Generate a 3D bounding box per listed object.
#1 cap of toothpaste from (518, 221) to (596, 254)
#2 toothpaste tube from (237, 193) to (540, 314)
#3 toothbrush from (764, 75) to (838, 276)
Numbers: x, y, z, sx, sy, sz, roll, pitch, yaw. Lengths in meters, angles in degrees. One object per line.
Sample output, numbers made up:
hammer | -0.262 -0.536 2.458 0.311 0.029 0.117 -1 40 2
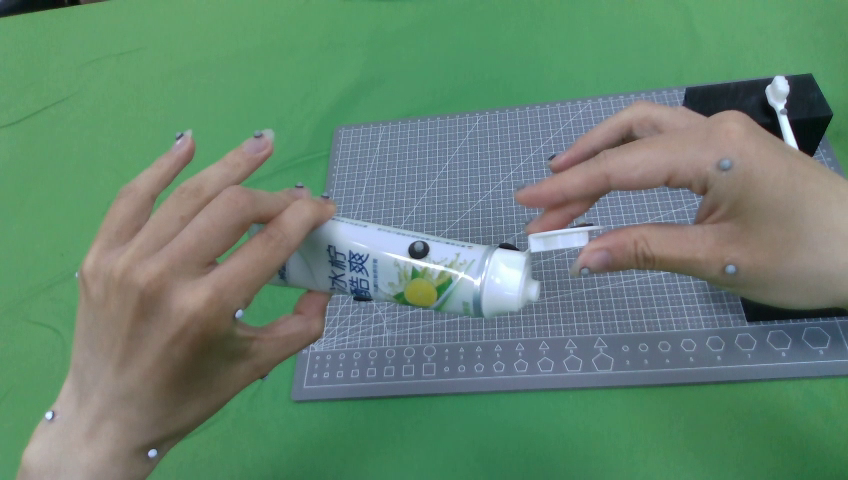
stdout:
cap of toothpaste | 0.062 -0.001 0.280 0.037 0.037 0.011 -12 85 4
toothpaste tube | -0.023 0.009 0.310 0.164 0.055 0.034 7 25 19
toothbrush | 0.271 -0.054 0.437 0.014 0.017 0.180 6 57 2
